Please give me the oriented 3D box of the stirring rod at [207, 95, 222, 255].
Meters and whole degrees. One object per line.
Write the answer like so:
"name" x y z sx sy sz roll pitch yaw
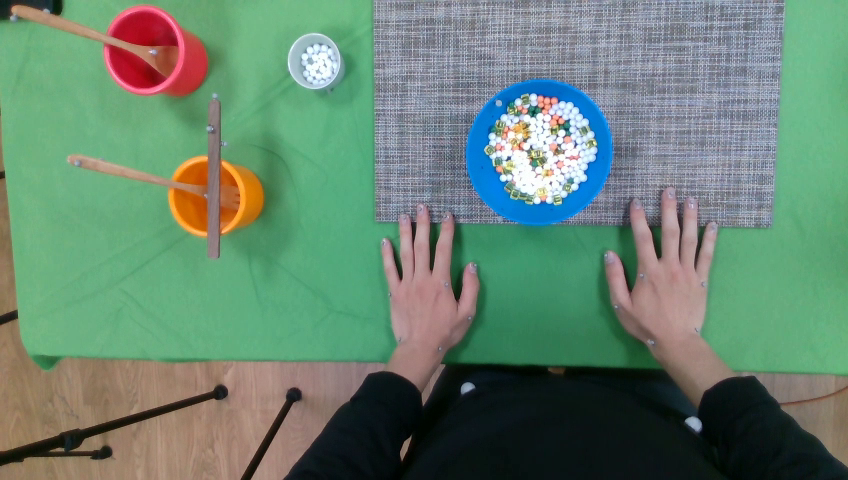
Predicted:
"stirring rod" -0.232 -0.071 0.672 0.014 0.006 0.176 2 97 8

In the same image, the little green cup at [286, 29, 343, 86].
"little green cup" -0.124 -0.208 0.702 0.061 0.038 0.061 1 97 8

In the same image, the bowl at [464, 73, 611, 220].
"bowl" 0.121 -0.099 0.660 0.151 0.077 0.151 1 97 7

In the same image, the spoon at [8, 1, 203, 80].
"spoon" -0.347 -0.225 0.675 0.195 0.021 0.041 13 98 -38

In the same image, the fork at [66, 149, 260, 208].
"fork" -0.285 -0.068 0.682 0.209 0.018 0.028 14 103 -38
